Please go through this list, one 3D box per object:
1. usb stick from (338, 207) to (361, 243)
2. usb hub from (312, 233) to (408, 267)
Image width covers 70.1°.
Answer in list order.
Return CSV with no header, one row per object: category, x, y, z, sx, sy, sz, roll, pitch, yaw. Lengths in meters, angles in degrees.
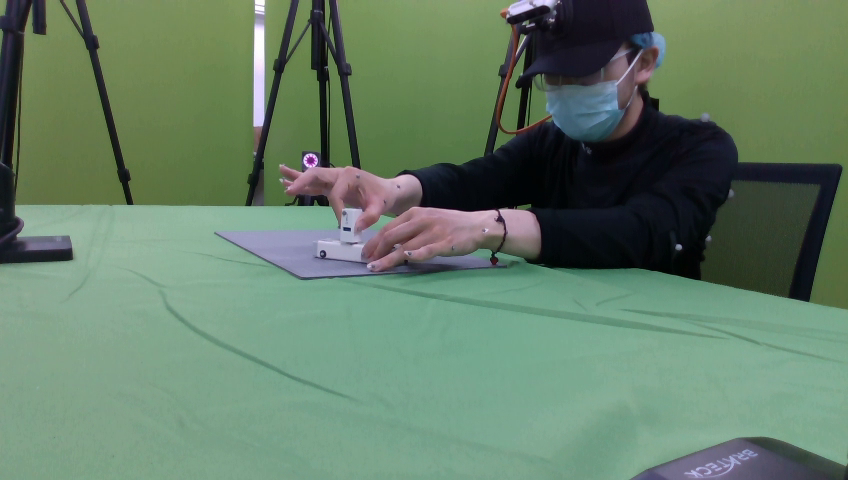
usb stick,-0.100,-0.014,0.813,0.021,0.059,0.027,9,13,20
usb hub,-0.087,0.012,0.828,0.125,0.025,0.049,7,16,21
